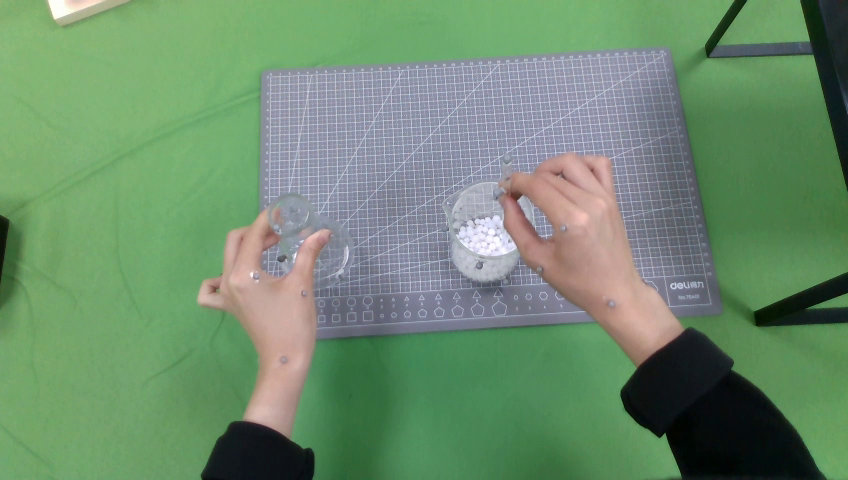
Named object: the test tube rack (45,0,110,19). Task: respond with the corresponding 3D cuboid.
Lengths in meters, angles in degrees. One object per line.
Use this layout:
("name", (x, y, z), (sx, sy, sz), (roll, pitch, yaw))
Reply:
("test tube rack", (-0.322, -0.338, 0.668), (0.242, 0.085, 0.066), (-24, 74, -6))

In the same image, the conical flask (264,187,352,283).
("conical flask", (-0.110, -0.009, 0.549), (0.075, 0.122, 0.075), (0, 73, 1))

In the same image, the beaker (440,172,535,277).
("beaker", (0.054, -0.010, 0.560), (0.084, 0.101, 0.073), (20, 74, 8))

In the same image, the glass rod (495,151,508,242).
("glass rod", (0.062, -0.029, 0.495), (0.008, 0.201, 0.008), (-1, 74, 5))
